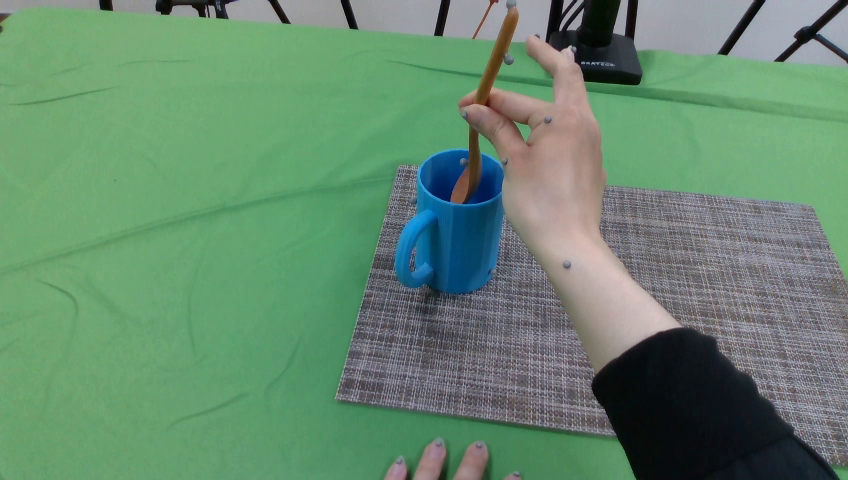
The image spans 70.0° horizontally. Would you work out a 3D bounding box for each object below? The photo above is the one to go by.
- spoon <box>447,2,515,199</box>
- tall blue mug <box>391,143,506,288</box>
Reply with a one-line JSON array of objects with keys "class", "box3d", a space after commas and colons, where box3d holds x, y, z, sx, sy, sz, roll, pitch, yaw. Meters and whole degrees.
[{"class": "spoon", "box3d": [0.037, -0.090, 0.444, 0.021, 0.195, 0.041, 10, 59, 1]}, {"class": "tall blue mug", "box3d": [0.023, -0.010, 0.527, 0.077, 0.109, 0.106, 13, 47, 9]}]
